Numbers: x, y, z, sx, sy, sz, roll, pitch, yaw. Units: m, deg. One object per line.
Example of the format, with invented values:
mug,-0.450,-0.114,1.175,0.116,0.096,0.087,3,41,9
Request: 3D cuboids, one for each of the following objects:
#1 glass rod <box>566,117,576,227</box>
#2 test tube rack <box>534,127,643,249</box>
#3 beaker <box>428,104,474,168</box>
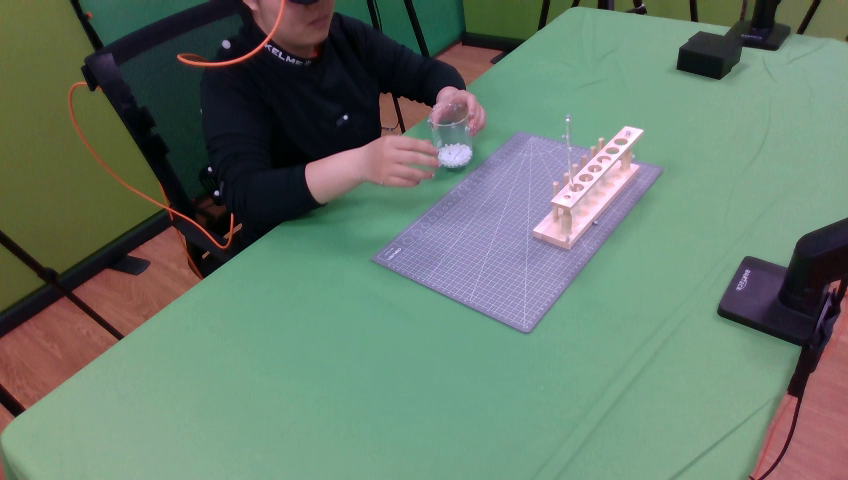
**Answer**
glass rod,0.218,-0.094,0.895,0.008,0.201,0.008,-9,41,8
test tube rack,0.271,-0.094,0.990,0.066,0.085,0.243,23,50,33
beaker,0.053,-0.192,1.117,0.073,0.101,0.084,6,45,18
